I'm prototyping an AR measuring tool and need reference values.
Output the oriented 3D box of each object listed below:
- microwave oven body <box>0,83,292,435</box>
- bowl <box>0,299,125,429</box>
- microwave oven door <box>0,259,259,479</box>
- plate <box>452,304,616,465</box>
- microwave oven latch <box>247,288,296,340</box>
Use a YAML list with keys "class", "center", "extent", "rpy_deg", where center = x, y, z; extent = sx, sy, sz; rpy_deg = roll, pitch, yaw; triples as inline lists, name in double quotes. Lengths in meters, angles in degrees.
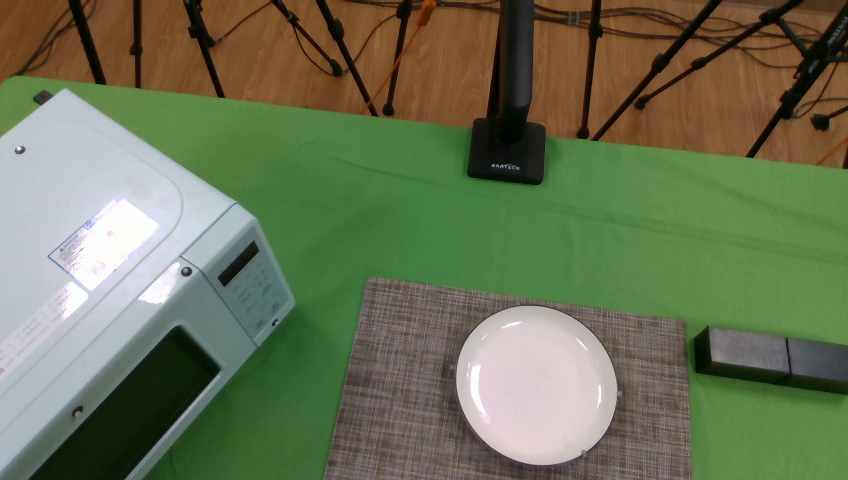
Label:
- class: "microwave oven body"
  center: [-0.429, 0.099, 0.693]
  extent: [0.324, 0.262, 0.440]
  rpy_deg: [32, 67, 15]
- class: "bowl"
  center: [-0.415, 0.153, 0.706]
  extent: [0.151, 0.077, 0.150]
  rpy_deg: [0, 58, 1]
- class: "microwave oven door"
  center: [-0.334, 0.202, 0.635]
  extent: [0.039, 0.245, 0.355]
  rpy_deg: [32, 66, 16]
- class: "plate"
  center: [0.139, 0.185, 0.783]
  extent: [0.208, 0.039, 0.206]
  rpy_deg: [1, 62, -1]
- class: "microwave oven latch"
  center: [-0.206, 0.094, 0.809]
  extent: [0.030, 0.030, 0.079]
  rpy_deg: [34, 67, 15]
